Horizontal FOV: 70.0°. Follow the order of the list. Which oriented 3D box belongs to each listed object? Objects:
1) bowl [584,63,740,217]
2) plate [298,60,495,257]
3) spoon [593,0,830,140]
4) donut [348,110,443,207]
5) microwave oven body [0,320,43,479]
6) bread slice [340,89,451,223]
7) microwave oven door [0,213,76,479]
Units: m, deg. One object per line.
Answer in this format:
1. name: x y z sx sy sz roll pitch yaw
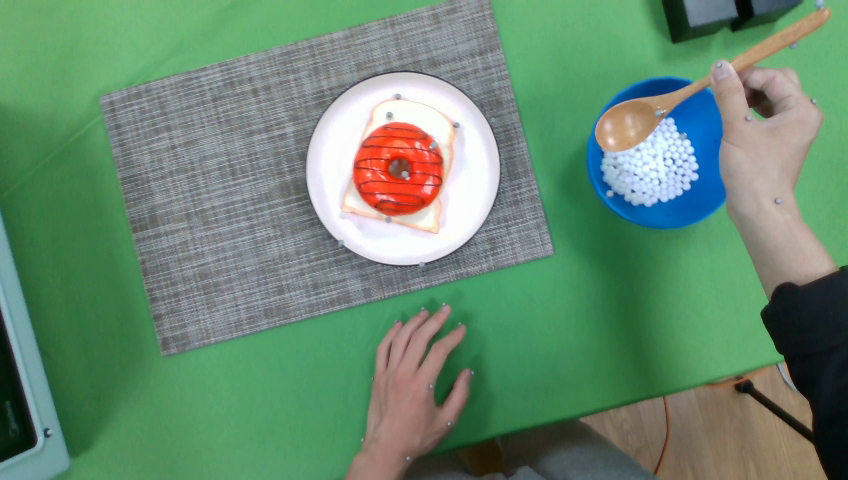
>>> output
1. bowl: 0.233 -0.096 0.626 0.151 0.077 0.151 0 90 2
2. plate: -0.028 -0.085 0.651 0.207 0.039 0.207 0 91 2
3. spoon: 0.227 -0.138 0.497 0.193 0.021 0.041 -28 92 39
4. donut: -0.029 -0.083 0.623 0.099 0.048 0.099 0 91 3
5. microwave oven body: -0.607 0.079 0.561 0.326 0.260 0.441 -17 90 1
6. bread slice: -0.028 -0.093 0.651 0.107 0.018 0.134 10 91 1
7. microwave oven door: -0.455 0.076 0.551 0.039 0.244 0.355 -17 90 2
